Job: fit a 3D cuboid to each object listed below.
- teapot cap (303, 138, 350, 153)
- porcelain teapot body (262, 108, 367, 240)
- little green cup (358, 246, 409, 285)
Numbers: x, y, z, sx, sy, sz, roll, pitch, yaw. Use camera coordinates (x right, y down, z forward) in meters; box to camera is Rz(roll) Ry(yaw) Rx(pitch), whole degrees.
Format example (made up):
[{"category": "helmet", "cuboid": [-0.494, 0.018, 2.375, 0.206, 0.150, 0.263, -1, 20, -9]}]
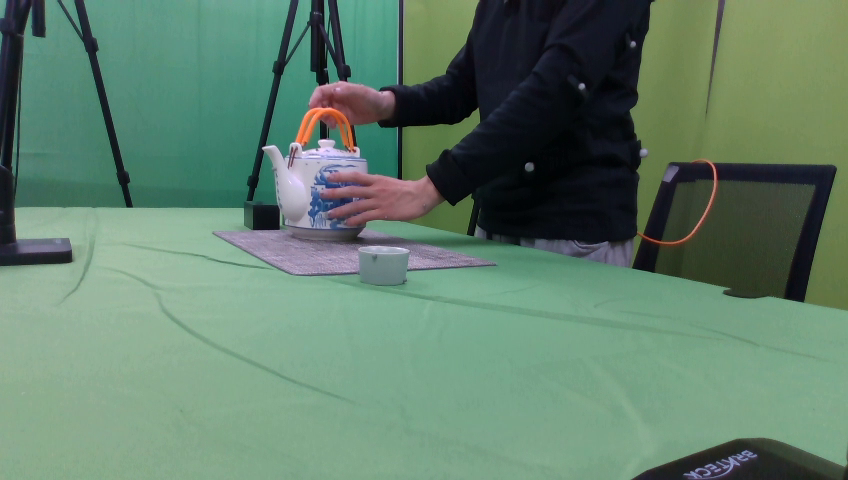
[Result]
[{"category": "teapot cap", "cuboid": [-0.172, -0.157, 1.060, 0.085, 0.044, 0.085, -1, 7, 0]}, {"category": "porcelain teapot body", "cuboid": [-0.190, -0.115, 1.041, 0.144, 0.225, 0.206, 8, 10, 36]}, {"category": "little green cup", "cuboid": [-0.048, 0.029, 0.707, 0.061, 0.038, 0.061, 2, 8, 0]}]
